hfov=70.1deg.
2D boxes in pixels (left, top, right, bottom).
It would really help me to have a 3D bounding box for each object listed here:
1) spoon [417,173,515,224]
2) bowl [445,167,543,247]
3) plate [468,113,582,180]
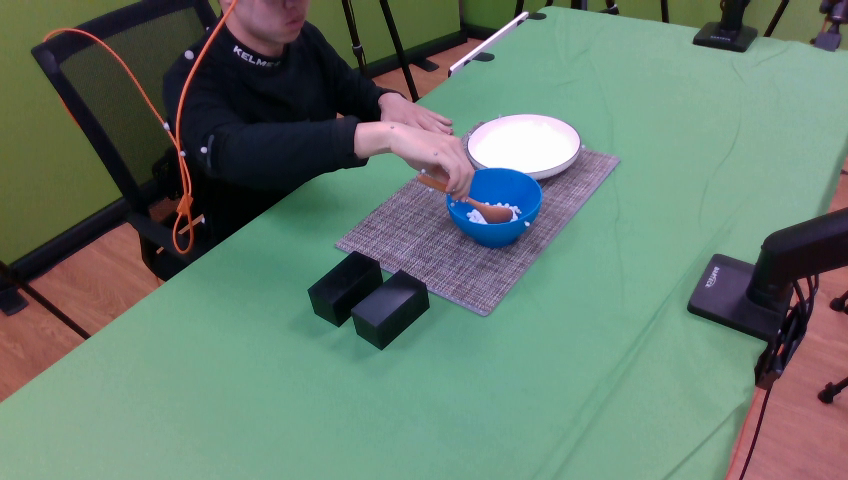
[{"bbox_3d":[0.063,-0.059,0.884,0.195,0.041,0.021,23,34,-33],"label":"spoon"},{"bbox_3d":[0.111,-0.042,0.952,0.151,0.077,0.150,-4,41,4],"label":"bowl"},{"bbox_3d":[0.186,-0.169,1.122,0.207,0.039,0.206,-4,40,4],"label":"plate"}]
